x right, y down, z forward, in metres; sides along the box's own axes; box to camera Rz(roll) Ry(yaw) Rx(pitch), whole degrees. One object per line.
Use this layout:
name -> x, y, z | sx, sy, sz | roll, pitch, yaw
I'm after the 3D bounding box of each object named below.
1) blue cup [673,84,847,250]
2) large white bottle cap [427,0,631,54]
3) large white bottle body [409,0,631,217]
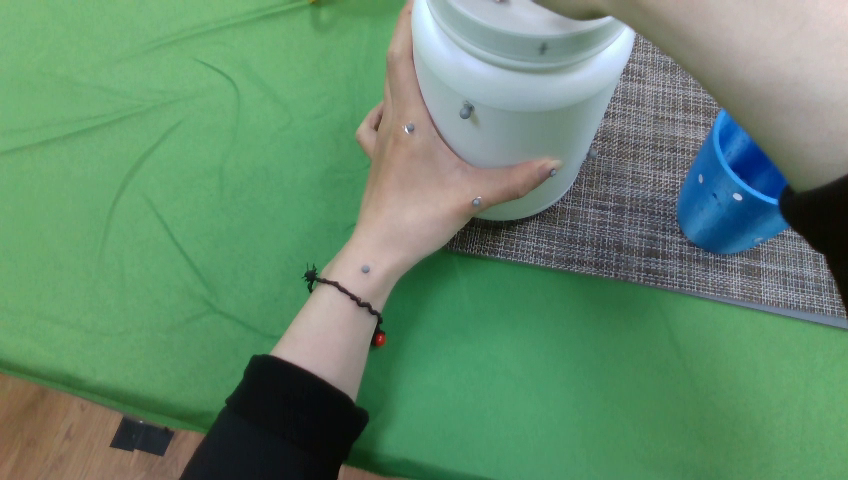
blue cup -> 0.216, -0.039, 0.411 | 0.092, 0.101, 0.092 | 0, 66, 1
large white bottle cap -> 0.055, -0.147, 0.318 | 0.115, 0.018, 0.114 | 0, 65, 0
large white bottle body -> 0.055, -0.111, 0.395 | 0.130, 0.186, 0.129 | 0, 65, -1
